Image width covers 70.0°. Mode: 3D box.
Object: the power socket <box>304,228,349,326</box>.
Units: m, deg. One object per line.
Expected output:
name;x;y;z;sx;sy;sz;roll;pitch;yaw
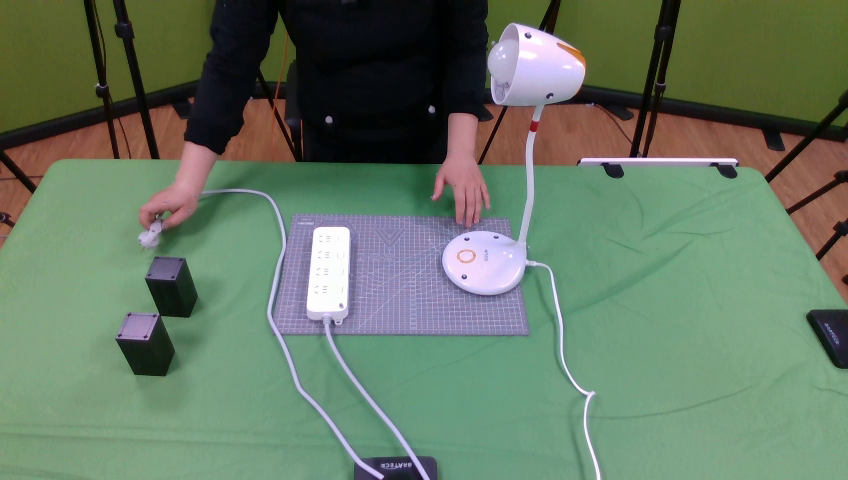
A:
power socket;-0.177;0.059;1.115;0.072;0.033;0.225;-1;46;-4

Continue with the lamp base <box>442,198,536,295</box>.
lamp base;0.130;-0.012;1.104;0.179;0.181;0.159;-1;46;-9

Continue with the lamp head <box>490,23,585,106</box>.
lamp head;0.165;-0.241;0.872;0.123;0.113;0.111;9;43;-17

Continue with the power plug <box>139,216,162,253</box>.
power plug;-0.506;-0.007;1.134;0.035;0.053;0.072;38;21;-13

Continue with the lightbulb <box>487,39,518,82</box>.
lightbulb;0.143;-0.252;0.865;0.108;0.060;0.059;9;45;-7
